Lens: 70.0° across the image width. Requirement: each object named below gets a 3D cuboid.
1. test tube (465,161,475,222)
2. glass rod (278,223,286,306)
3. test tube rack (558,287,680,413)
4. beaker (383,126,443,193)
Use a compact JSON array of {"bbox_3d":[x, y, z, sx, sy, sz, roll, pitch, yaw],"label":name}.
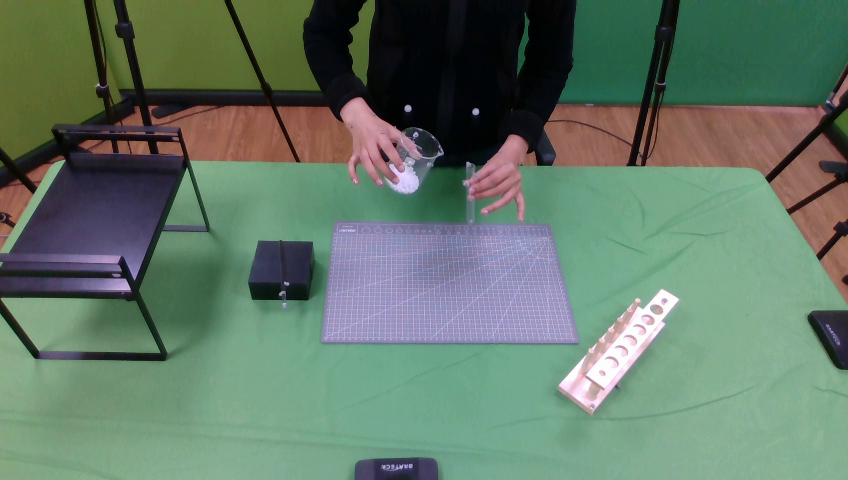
[{"bbox_3d":[0.085,-0.085,1.112,0.017,0.151,0.017,-2,50,3],"label":"test tube"},{"bbox_3d":[-0.255,0.039,1.081,0.008,0.008,0.198,-7,47,-10],"label":"glass rod"},{"bbox_3d":[0.326,0.170,1.009,0.066,0.085,0.242,36,54,26],"label":"test tube rack"},{"bbox_3d":[-0.022,-0.136,1.053,0.084,0.100,0.073,16,47,-17],"label":"beaker"}]
